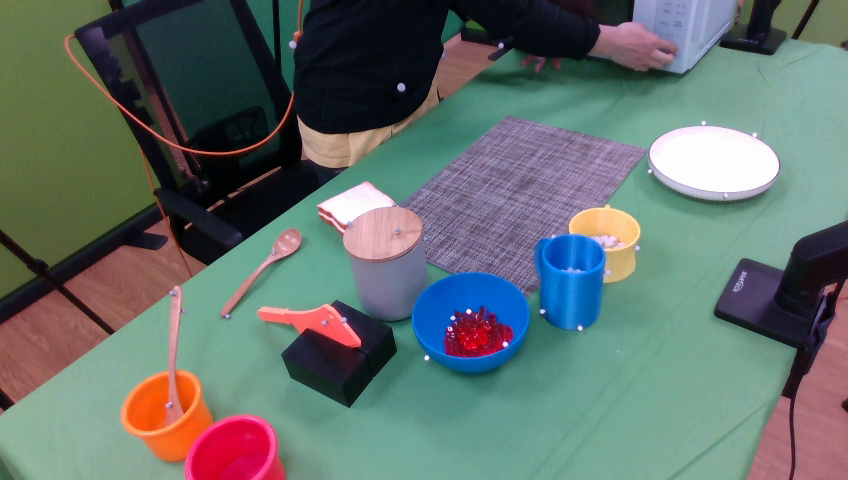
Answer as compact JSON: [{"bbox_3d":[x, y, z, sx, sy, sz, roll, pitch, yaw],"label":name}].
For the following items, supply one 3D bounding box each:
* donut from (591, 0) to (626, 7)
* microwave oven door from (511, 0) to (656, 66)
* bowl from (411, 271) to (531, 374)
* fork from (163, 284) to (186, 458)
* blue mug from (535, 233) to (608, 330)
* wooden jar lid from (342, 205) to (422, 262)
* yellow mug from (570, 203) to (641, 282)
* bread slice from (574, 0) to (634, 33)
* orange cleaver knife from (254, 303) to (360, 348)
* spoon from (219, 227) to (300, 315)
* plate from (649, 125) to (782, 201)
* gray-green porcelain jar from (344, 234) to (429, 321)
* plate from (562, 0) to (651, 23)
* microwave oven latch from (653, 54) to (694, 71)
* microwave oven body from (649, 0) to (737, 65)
[{"bbox_3d":[0.437,-0.589,1.432,0.099,0.048,0.098,-3,53,4],"label":"donut"},{"bbox_3d":[0.351,-0.540,1.349,0.353,0.245,0.039,24,50,31],"label":"microwave oven door"},{"bbox_3d":[0.062,0.119,0.780,0.151,0.077,0.150,-4,40,4],"label":"bowl"},{"bbox_3d":[-0.302,0.157,0.733,0.028,0.019,0.207,-3,84,14],"label":"fork"},{"bbox_3d":[0.191,0.048,0.825,0.082,0.106,0.115,-26,44,-20],"label":"blue mug"},{"bbox_3d":[-0.055,-0.006,0.809,0.108,0.021,0.108,-6,40,6],"label":"wooden jar lid"},{"bbox_3d":[0.269,-0.005,0.905,0.099,0.064,0.130,7,42,15],"label":"yellow mug"},{"bbox_3d":[0.432,-0.564,1.475,0.105,0.019,0.131,-30,67,-21],"label":"bread slice"},{"bbox_3d":[-0.161,0.115,0.813,0.210,0.077,0.012,-4,33,46],"label":"orange cleaver knife"},{"bbox_3d":[-0.260,0.046,0.954,0.041,0.021,0.194,27,48,10],"label":"spoon"},{"bbox_3d":[0.494,-0.128,1.036,0.207,0.039,0.206,-4,41,4],"label":"plate"},{"bbox_3d":[-0.049,0.042,0.850,0.106,0.127,0.105,-4,41,4],"label":"gray-green porcelain jar"},{"bbox_3d":[0.439,-0.573,1.456,0.209,0.038,0.208,-6,44,6],"label":"plate"},{"bbox_3d":[0.536,-0.388,1.303,0.030,0.029,0.078,-33,46,-25],"label":"microwave oven latch"},{"bbox_3d":[0.476,-0.602,1.412,0.438,0.261,0.327,23,50,32],"label":"microwave oven body"}]
